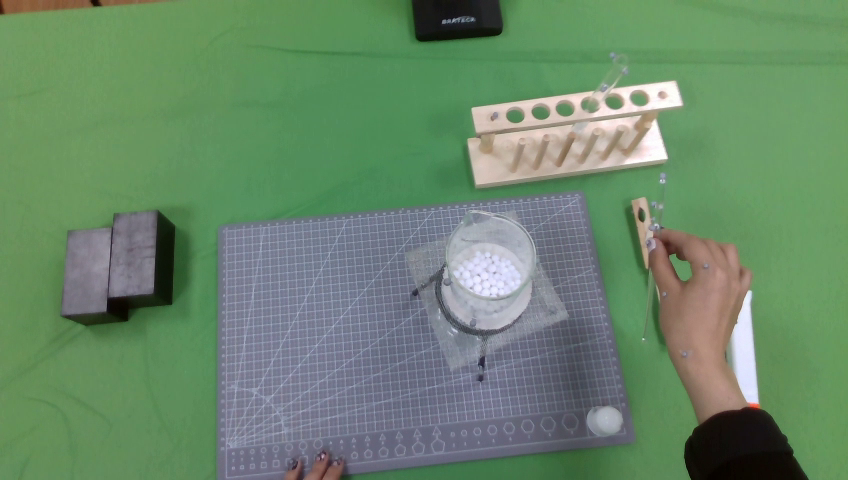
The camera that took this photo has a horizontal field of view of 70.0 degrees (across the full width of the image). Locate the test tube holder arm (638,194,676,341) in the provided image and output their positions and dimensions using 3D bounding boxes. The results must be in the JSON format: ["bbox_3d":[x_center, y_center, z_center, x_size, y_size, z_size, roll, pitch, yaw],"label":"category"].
[{"bbox_3d":[0.272,0.030,0.713,0.013,0.015,0.177,-17,69,30],"label":"test tube holder arm"}]

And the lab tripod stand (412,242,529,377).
[{"bbox_3d":[0.051,0.064,0.638,0.148,0.132,0.147,0,72,2],"label":"lab tripod stand"}]

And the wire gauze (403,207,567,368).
[{"bbox_3d":[0.056,0.041,0.576,0.121,0.011,0.124,-22,74,-4],"label":"wire gauze"}]

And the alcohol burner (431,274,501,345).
[{"bbox_3d":[0.046,0.070,0.647,0.078,0.120,0.077,0,70,1],"label":"alcohol burner"}]

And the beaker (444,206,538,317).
[{"bbox_3d":[0.054,0.023,0.532,0.074,0.101,0.083,-20,72,-5],"label":"beaker"}]

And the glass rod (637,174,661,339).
[{"bbox_3d":[0.228,0.024,0.618,0.008,0.201,0.008,-5,33,3],"label":"glass rod"}]

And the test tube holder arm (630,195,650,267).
[{"bbox_3d":[0.263,-0.011,0.729,0.010,0.015,0.087,-17,70,31],"label":"test tube holder arm"}]

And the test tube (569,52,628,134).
[{"bbox_3d":[0.195,-0.162,0.690,0.017,0.151,0.017,2,70,-6],"label":"test tube"}]

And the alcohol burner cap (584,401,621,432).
[{"bbox_3d":[0.193,0.187,0.647,0.034,0.048,0.033,0,71,0],"label":"alcohol burner cap"}]

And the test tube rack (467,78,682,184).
[{"bbox_3d":[0.178,-0.129,0.731,0.242,0.085,0.066,-8,71,-3],"label":"test tube rack"}]

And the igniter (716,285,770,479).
[{"bbox_3d":[0.344,0.184,0.660,0.057,0.025,0.275,8,72,-8],"label":"igniter"}]
